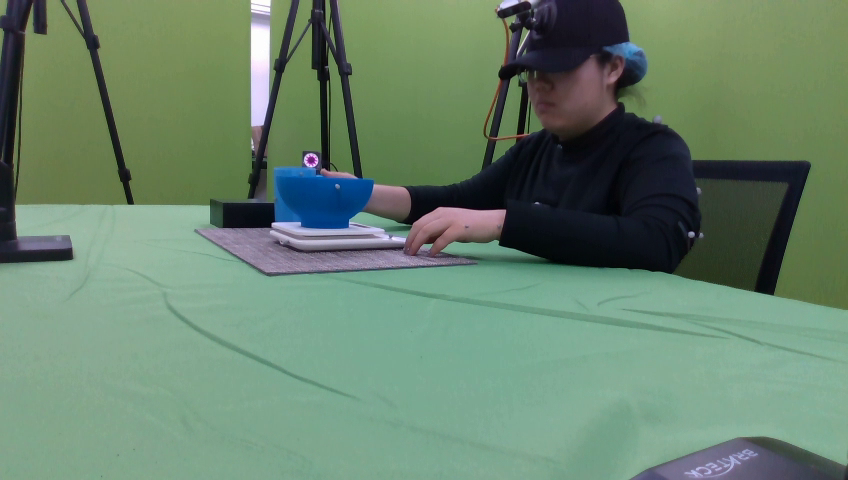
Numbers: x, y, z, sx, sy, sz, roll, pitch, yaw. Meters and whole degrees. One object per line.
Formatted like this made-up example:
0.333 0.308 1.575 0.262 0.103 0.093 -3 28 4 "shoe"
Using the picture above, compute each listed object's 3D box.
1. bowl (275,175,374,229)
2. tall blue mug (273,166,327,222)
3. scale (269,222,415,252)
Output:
-0.152 -0.059 0.933 0.151 0.077 0.151 2 7 0 "bowl"
-0.229 -0.083 1.127 0.077 0.108 0.107 5 11 27 "tall blue mug"
-0.130 -0.008 0.958 0.202 0.031 0.148 -1 9 -32 "scale"
